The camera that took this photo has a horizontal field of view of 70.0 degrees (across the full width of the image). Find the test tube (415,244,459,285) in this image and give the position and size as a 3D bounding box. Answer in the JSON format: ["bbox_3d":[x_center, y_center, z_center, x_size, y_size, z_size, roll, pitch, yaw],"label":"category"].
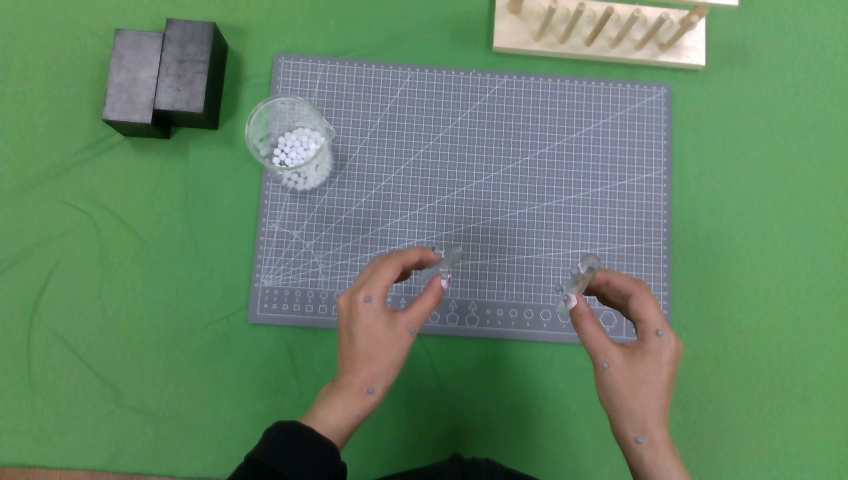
[{"bbox_3d":[0.009,0.025,0.554,0.017,0.150,0.017,2,78,-9],"label":"test tube"}]

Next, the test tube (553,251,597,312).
[{"bbox_3d":[0.125,0.039,0.512,0.017,0.151,0.017,-1,71,5],"label":"test tube"}]

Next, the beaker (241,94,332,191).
[{"bbox_3d":[-0.131,-0.094,0.613,0.084,0.100,0.073,-4,82,-4],"label":"beaker"}]

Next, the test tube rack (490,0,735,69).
[{"bbox_3d":[0.200,-0.246,0.662,0.242,0.085,0.066,4,81,-2],"label":"test tube rack"}]
